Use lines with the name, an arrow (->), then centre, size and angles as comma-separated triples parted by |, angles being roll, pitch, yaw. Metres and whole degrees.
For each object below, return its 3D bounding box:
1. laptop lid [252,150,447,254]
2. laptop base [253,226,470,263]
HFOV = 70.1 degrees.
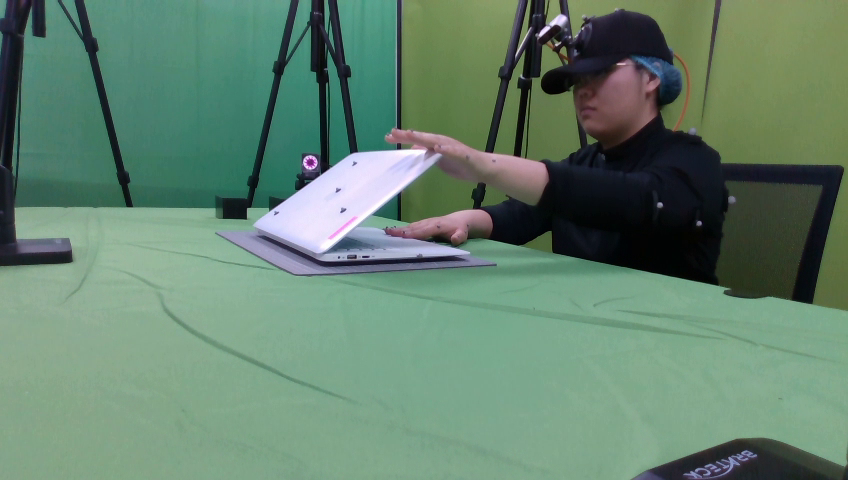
laptop lid -> -0.135, -0.075, 0.948 | 0.242, 0.013, 0.355 | -39, 24, -18
laptop base -> -0.117, 0.005, 0.971 | 0.237, 0.023, 0.352 | 2, 6, -30
